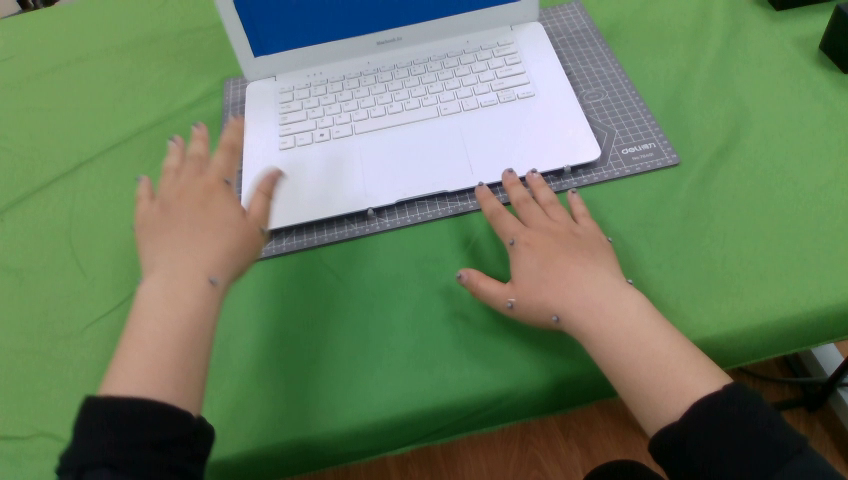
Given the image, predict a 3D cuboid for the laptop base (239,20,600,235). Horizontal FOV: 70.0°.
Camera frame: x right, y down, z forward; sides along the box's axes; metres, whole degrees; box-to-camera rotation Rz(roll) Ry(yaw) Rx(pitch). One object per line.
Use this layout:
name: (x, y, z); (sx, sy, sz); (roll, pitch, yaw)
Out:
laptop base: (-0.021, -0.127, 0.646); (0.354, 0.023, 0.233); (-12, 54, 1)

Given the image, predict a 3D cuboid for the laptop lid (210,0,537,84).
laptop lid: (-0.059, -0.302, 0.637); (0.357, 0.244, 0.013); (-13, 43, 2)
